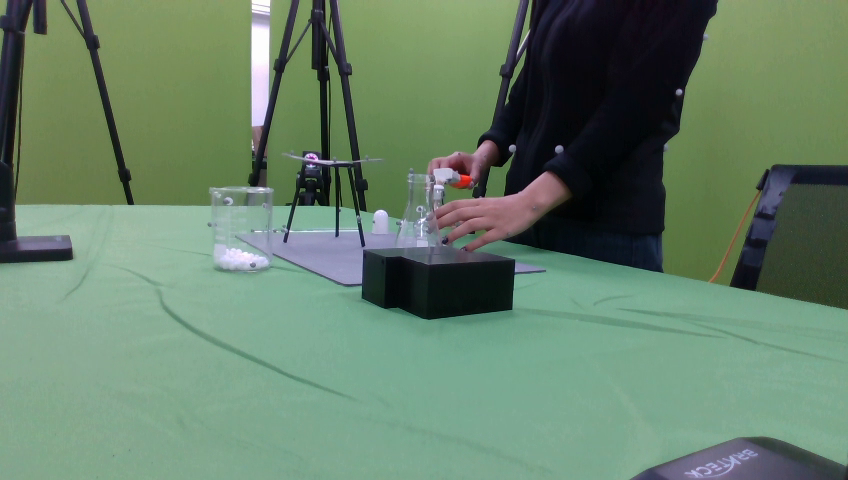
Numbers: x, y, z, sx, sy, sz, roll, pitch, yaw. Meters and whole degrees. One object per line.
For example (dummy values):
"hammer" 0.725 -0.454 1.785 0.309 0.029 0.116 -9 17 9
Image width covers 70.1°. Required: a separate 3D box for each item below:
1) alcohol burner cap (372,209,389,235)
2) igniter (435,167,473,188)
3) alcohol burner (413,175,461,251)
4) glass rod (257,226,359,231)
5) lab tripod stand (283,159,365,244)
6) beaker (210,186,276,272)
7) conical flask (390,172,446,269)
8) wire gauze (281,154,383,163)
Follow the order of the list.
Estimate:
"alcohol burner cap" -0.082 -0.035 1.143 0.034 0.048 0.034 2 6 0
"igniter" 0.057 -0.114 1.103 0.057 0.025 0.277 -1 2 10
"alcohol burner" 0.021 -0.043 0.957 0.078 0.119 0.078 1 6 0
"glass rod" -0.215 -0.022 1.151 0.201 0.008 0.008 -2 8 -28
"lab tripod stand" -0.151 -0.063 0.983 0.148 0.131 0.148 4 7 0
"beaker" -0.224 -0.014 0.738 0.084 0.100 0.074 4 7 16
"conical flask" -0.006 -0.027 0.790 0.075 0.122 0.075 2 7 0
"wire gauze" -0.146 -0.130 0.977 0.124 0.011 0.122 9 10 41
